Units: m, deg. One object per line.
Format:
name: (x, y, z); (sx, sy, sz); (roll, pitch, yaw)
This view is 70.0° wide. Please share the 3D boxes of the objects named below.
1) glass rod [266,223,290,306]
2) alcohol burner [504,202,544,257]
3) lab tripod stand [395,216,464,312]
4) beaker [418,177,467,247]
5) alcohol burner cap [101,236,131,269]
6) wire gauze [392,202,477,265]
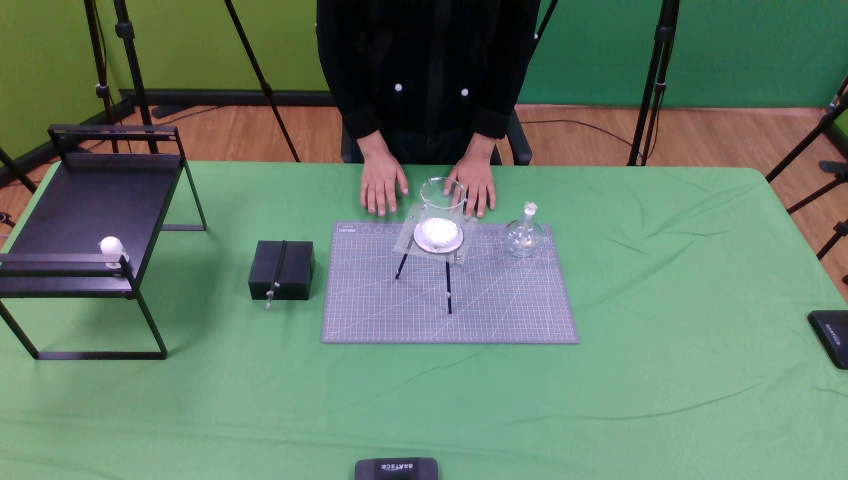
glass rod: (-0.260, 0.039, 1.083); (0.008, 0.008, 0.198); (3, 46, -1)
alcohol burner: (0.195, -0.025, 1.170); (0.078, 0.119, 0.077); (2, 44, -2)
lab tripod stand: (0.023, 0.036, 1.084); (0.148, 0.132, 0.147); (4, 46, -4)
beaker: (0.026, -0.045, 1.004); (0.074, 0.101, 0.083); (-21, 51, -23)
alcohol burner cap: (-0.452, 0.016, 0.883); (0.034, 0.048, 0.033); (2, 47, -1)
wire gauze: (0.021, -0.011, 1.037); (0.121, 0.011, 0.124); (13, 49, 8)
